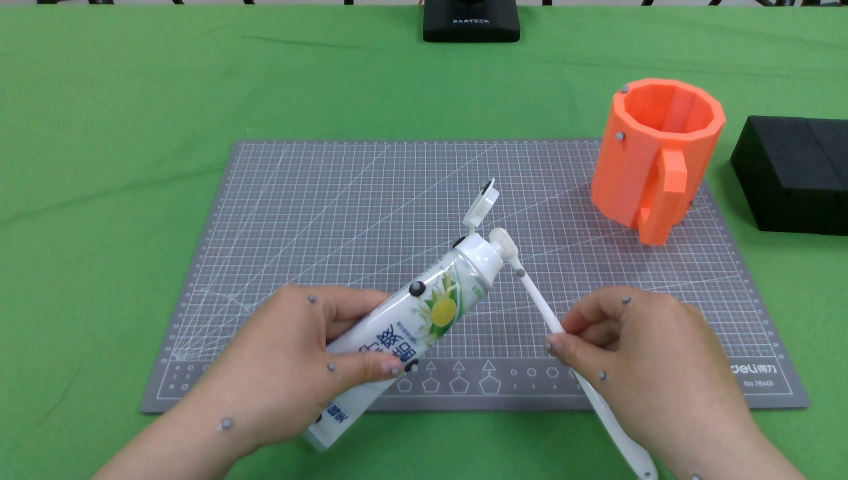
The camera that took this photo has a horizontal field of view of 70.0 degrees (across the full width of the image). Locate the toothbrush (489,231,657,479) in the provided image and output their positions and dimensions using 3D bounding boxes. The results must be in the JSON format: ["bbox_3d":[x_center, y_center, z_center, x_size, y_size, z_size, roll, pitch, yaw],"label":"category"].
[{"bbox_3d":[0.090,0.071,0.376,0.014,0.017,0.181,-32,80,8],"label":"toothbrush"}]

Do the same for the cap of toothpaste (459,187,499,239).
[{"bbox_3d":[0.036,-0.017,0.377,0.011,0.037,0.037,34,52,3],"label":"cap of toothpaste"}]

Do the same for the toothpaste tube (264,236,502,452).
[{"bbox_3d":[-0.017,0.056,0.367,0.165,0.055,0.034,-42,19,-6],"label":"toothpaste tube"}]

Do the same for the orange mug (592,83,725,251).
[{"bbox_3d":[0.191,-0.056,0.500,0.083,0.102,0.125,6,42,6],"label":"orange mug"}]
